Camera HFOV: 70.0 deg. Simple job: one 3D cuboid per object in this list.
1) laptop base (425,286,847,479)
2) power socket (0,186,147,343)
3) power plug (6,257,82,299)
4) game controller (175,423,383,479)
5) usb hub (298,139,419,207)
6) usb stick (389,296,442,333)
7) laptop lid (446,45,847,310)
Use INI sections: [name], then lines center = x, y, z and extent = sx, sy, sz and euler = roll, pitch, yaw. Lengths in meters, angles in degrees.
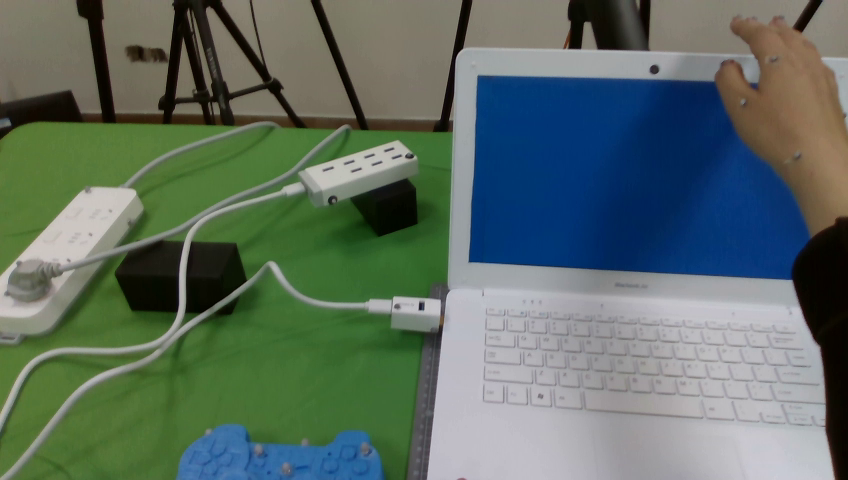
[laptop base]
center = 0.184, 0.136, 0.490
extent = 0.354, 0.023, 0.233
euler = 3, 43, 5
[power socket]
center = -0.373, 0.013, 0.639
extent = 0.072, 0.033, 0.225
euler = 5, 40, 6
[power plug]
center = -0.353, 0.044, 0.564
extent = 0.072, 0.053, 0.035
euler = 13, 41, 13
[game controller]
center = -0.103, 0.176, 0.427
extent = 0.155, 0.052, 0.096
euler = 3, 36, 4
[usb hub]
center = -0.070, -0.075, 0.668
extent = 0.125, 0.025, 0.049
euler = -22, 45, -22
[usb stick]
center = -0.001, 0.069, 0.553
extent = 0.059, 0.027, 0.021
euler = 7, 39, -4
[laptop lid]
center = 0.200, -0.052, 0.555
extent = 0.356, 0.242, 0.013
euler = 2, 12, 5
